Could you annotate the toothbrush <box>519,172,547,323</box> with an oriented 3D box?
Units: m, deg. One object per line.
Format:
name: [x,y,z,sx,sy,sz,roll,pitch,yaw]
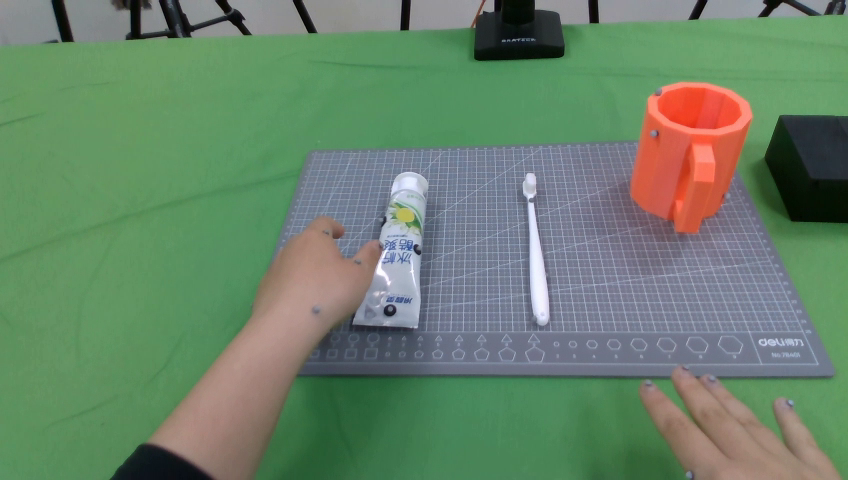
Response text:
toothbrush: [0.098,0.000,0.543,0.014,0.017,0.180,9,46,-5]

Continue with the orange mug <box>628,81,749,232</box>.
orange mug: [0.235,-0.071,0.543,0.083,0.102,0.125,5,41,11]

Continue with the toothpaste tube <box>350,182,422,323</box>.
toothpaste tube: [-0.027,0.006,0.542,0.055,0.035,0.163,-2,47,9]

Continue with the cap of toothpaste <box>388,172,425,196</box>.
cap of toothpaste: [-0.018,-0.051,0.593,0.037,0.038,0.011,2,48,7]
